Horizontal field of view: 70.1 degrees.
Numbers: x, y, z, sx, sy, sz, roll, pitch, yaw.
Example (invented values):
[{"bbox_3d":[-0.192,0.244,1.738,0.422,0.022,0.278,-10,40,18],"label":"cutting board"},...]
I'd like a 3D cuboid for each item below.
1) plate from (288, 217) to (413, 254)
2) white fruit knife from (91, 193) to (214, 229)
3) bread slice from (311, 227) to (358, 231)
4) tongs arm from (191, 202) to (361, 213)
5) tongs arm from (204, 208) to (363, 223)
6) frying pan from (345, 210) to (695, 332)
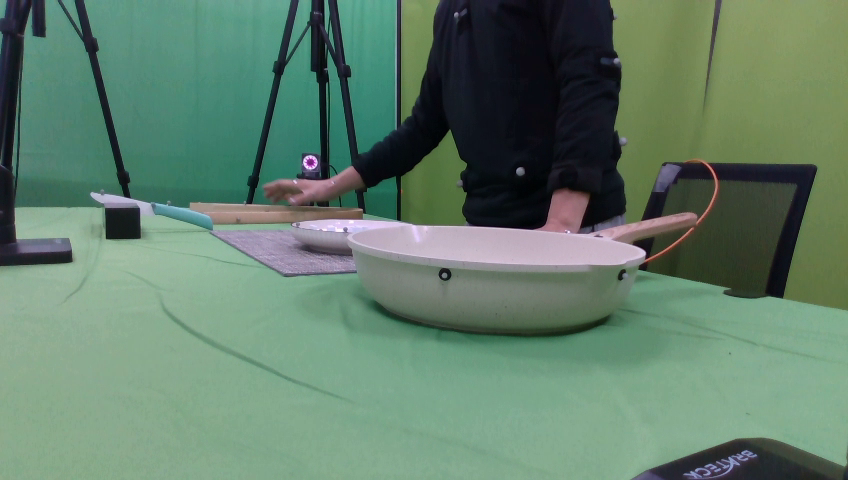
[{"bbox_3d":[-0.109,-0.007,0.956,0.208,0.039,0.207,2,7,0],"label":"plate"},{"bbox_3d":[-0.478,-0.055,1.077,0.208,0.027,0.016,14,-1,-30],"label":"white fruit knife"},{"bbox_3d":[-0.115,-0.005,0.950,0.134,0.018,0.107,3,6,-7],"label":"bread slice"},{"bbox_3d":[-0.333,-0.068,1.402,0.387,0.026,0.050,0,8,-27],"label":"tongs arm"},{"bbox_3d":[-0.293,-0.055,1.336,0.390,0.028,0.028,-3,6,-39],"label":"tongs arm"},{"bbox_3d":[0.153,0.009,0.668,0.490,0.102,0.305,-12,15,-32],"label":"frying pan"}]
